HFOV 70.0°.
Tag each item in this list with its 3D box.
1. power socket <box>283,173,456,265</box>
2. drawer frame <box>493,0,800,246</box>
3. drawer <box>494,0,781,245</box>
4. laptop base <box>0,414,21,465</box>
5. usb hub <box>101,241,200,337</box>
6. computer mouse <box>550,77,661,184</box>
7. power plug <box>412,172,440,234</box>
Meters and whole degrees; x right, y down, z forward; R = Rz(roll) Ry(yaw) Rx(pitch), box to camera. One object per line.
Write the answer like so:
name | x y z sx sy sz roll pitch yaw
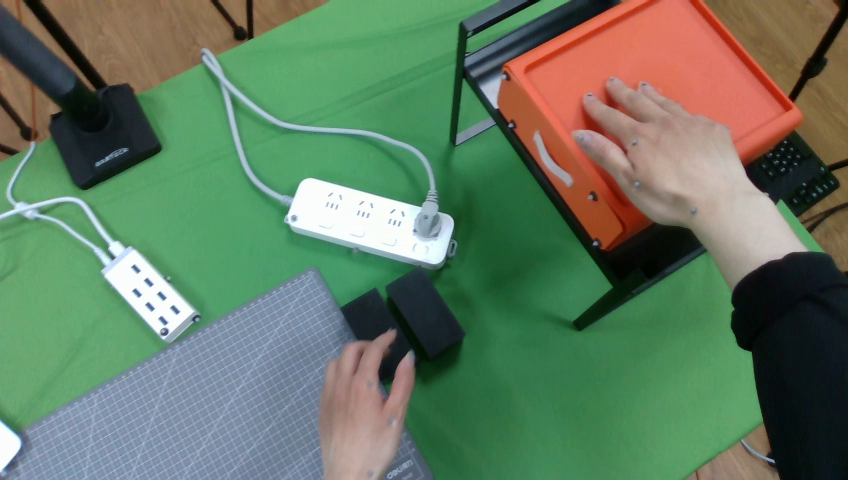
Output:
power socket | -0.070 -0.028 0.780 0.226 0.033 0.072 15 72 4
drawer frame | 0.211 -0.134 0.604 0.213 0.083 0.200 -31 75 -11
drawer | 0.209 -0.131 0.604 0.212 0.073 0.193 -30 75 -10
laptop base | -0.656 0.297 0.676 0.235 0.023 0.353 35 75 7
usb hub | -0.340 0.060 0.753 0.124 0.025 0.049 42 77 11
computer mouse | 0.183 -0.114 0.614 0.063 0.041 0.116 -35 73 -6
power plug | 0.011 -0.042 0.766 0.035 0.053 0.072 26 72 8
